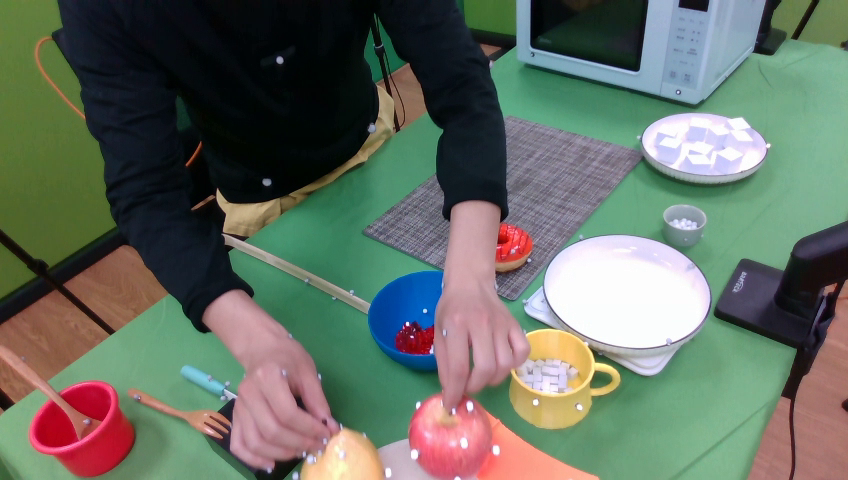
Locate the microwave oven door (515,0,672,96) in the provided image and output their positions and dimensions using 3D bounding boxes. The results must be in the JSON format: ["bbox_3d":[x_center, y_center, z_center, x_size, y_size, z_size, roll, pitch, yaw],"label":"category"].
[{"bbox_3d":[0.343,-0.454,1.258,0.353,0.245,0.039,26,51,33],"label":"microwave oven door"}]

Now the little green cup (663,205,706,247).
[{"bbox_3d":[0.396,-0.020,0.926,0.061,0.039,0.061,-4,40,4],"label":"little green cup"}]

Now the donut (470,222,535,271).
[{"bbox_3d":[0.119,0.009,0.923,0.099,0.048,0.098,-4,38,3],"label":"donut"}]

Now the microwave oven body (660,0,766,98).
[{"bbox_3d":[0.472,-0.513,1.317,0.438,0.261,0.327,26,51,34],"label":"microwave oven body"}]

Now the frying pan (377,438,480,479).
[{"bbox_3d":[-0.089,0.306,0.564,0.487,0.103,0.306,10,41,7],"label":"frying pan"}]

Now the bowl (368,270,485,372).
[{"bbox_3d":[0.007,0.119,0.791,0.151,0.077,0.150,-5,40,4],"label":"bowl"}]

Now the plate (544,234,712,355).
[{"bbox_3d":[0.262,0.072,0.792,0.209,0.038,0.208,-4,41,4],"label":"plate"}]

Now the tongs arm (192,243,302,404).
[{"bbox_3d":[-0.268,0.109,0.884,0.028,0.028,0.384,-35,47,-18],"label":"tongs arm"}]

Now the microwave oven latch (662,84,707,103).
[{"bbox_3d":[0.517,-0.296,1.204,0.078,0.029,0.030,27,52,35],"label":"microwave oven latch"}]

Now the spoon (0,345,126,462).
[{"bbox_3d":[-0.434,0.192,0.720,0.194,0.021,0.042,47,54,-7],"label":"spoon"}]

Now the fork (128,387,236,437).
[{"bbox_3d":[-0.305,0.207,0.744,0.206,0.019,0.028,3,40,36],"label":"fork"}]

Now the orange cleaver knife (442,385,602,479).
[{"bbox_3d":[0.085,0.219,0.612,0.209,0.012,0.077,28,49,35],"label":"orange cleaver knife"}]

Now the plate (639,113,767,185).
[{"bbox_3d":[0.489,-0.157,1.074,0.207,0.039,0.206,-4,40,4],"label":"plate"}]

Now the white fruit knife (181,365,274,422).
[{"bbox_3d":[-0.245,0.188,0.747,0.205,0.027,0.016,9,41,40],"label":"white fruit knife"}]

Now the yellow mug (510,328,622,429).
[{"bbox_3d":[0.168,0.164,0.721,0.130,0.064,0.099,0,40,8],"label":"yellow mug"}]

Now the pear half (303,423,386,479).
[{"bbox_3d":[-0.082,0.206,0.570,0.077,0.110,0.055,-21,28,-21],"label":"pear half"}]

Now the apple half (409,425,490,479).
[{"bbox_3d":[0.020,0.205,0.547,0.081,0.081,0.033,8,38,17],"label":"apple half"}]

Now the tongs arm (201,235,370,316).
[{"bbox_3d":[-0.209,0.062,0.924,0.381,0.026,0.051,23,53,32],"label":"tongs arm"}]

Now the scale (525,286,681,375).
[{"bbox_3d":[0.254,0.091,0.821,0.199,0.032,0.149,28,51,35],"label":"scale"}]

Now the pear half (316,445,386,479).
[{"bbox_3d":[-0.064,0.228,0.546,0.071,0.088,0.031,-22,27,-23],"label":"pear half"}]

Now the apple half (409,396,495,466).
[{"bbox_3d":[0.031,0.182,0.576,0.080,0.075,0.053,3,37,21],"label":"apple half"}]
